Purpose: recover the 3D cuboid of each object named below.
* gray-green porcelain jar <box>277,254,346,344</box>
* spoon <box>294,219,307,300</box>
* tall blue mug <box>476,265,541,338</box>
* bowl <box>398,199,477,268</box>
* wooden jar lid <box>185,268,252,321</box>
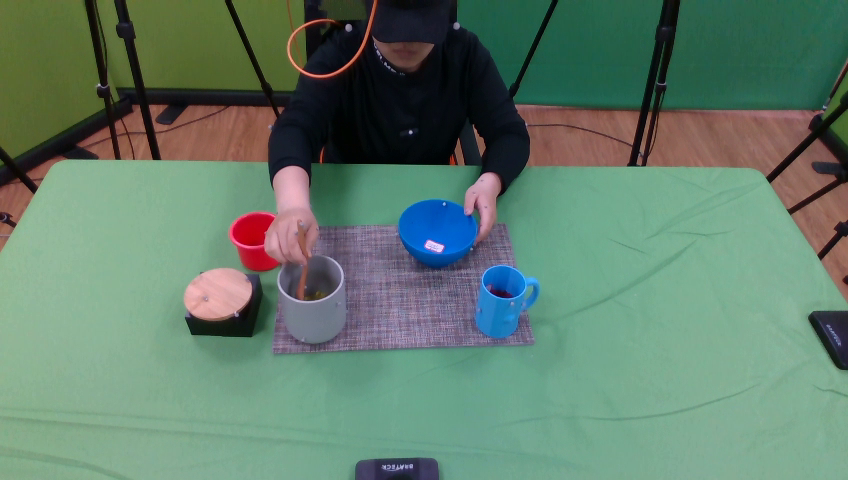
[{"bbox_3d":[-0.184,0.102,1.008,0.106,0.127,0.105,2,46,-2],"label":"gray-green porcelain jar"},{"bbox_3d":[-0.196,0.047,0.970,0.022,0.194,0.041,-3,35,-18],"label":"spoon"},{"bbox_3d":[0.142,0.099,1.047,0.077,0.108,0.107,33,52,27],"label":"tall blue mug"},{"bbox_3d":[0.024,-0.001,1.157,0.151,0.077,0.150,2,46,-2],"label":"bowl"},{"bbox_3d":[-0.343,0.093,1.015,0.108,0.021,0.107,3,46,-3],"label":"wooden jar lid"}]
